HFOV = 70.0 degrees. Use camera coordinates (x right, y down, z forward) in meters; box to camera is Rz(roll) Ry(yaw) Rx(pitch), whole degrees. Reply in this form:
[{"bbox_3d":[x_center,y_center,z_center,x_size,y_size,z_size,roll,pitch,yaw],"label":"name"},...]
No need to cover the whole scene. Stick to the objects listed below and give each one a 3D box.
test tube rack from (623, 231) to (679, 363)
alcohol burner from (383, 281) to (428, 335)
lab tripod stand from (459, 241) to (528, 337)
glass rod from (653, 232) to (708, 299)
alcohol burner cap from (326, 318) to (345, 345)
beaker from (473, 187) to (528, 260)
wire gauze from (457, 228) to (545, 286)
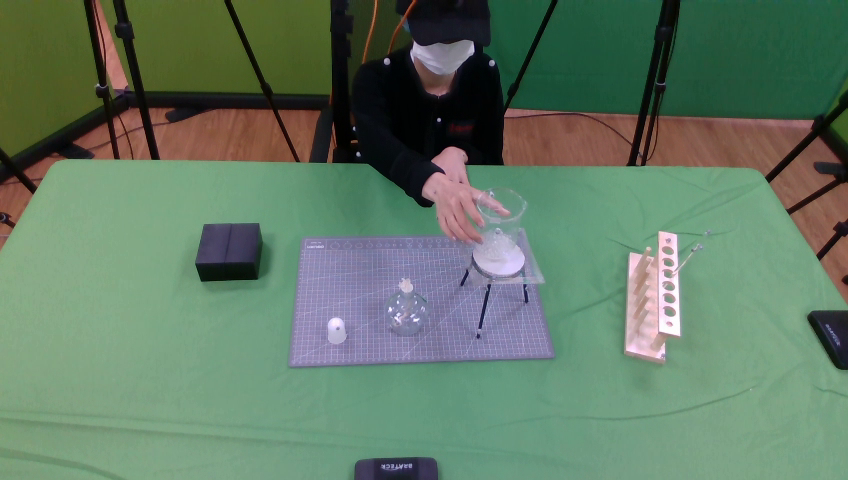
[{"bbox_3d":[0.410,0.094,1.096,0.066,0.085,0.241,13,46,9],"label":"test tube rack"},{"bbox_3d":[-0.030,0.108,1.024,0.078,0.119,0.077,2,48,-2],"label":"alcohol burner"},{"bbox_3d":[0.122,0.075,1.054,0.148,0.132,0.147,3,44,-3],"label":"lab tripod stand"},{"bbox_3d":[0.441,0.049,1.050,0.008,0.200,0.008,4,52,-5],"label":"glass rod"},{"bbox_3d":[-0.149,0.151,1.023,0.034,0.048,0.033,3,46,-3],"label":"alcohol burner cap"},{"bbox_3d":[0.119,-0.024,0.969,0.084,0.101,0.073,-6,49,-8],"label":"beaker"},{"bbox_3d":[0.126,0.028,1.006,0.125,0.011,0.120,-4,47,-10],"label":"wire gauze"}]
